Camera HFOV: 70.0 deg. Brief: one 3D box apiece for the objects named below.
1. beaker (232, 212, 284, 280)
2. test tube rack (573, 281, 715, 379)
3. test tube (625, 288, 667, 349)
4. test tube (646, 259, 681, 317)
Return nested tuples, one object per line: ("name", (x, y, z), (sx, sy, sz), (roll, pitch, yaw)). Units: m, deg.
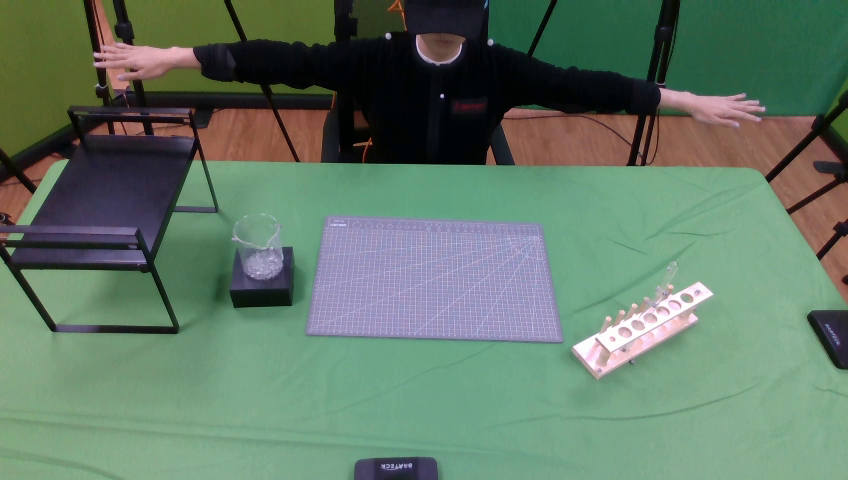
("beaker", (-0.280, 0.016, 1.037), (0.074, 0.101, 0.083), (-18, 50, -20))
("test tube rack", (0.378, 0.140, 1.038), (0.242, 0.085, 0.066), (-22, 51, -23))
("test tube", (0.355, 0.130, 0.976), (0.017, 0.151, 0.017), (5, 45, -5))
("test tube", (0.406, 0.083, 1.033), (0.017, 0.151, 0.017), (1, 48, -1))
